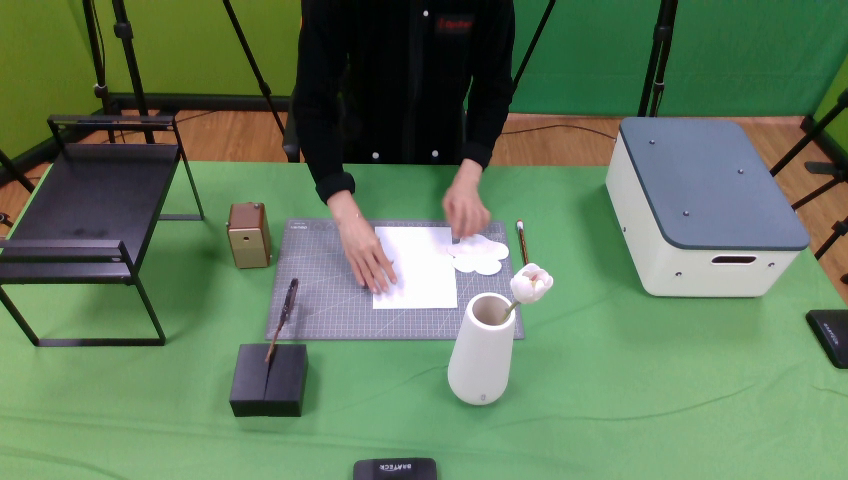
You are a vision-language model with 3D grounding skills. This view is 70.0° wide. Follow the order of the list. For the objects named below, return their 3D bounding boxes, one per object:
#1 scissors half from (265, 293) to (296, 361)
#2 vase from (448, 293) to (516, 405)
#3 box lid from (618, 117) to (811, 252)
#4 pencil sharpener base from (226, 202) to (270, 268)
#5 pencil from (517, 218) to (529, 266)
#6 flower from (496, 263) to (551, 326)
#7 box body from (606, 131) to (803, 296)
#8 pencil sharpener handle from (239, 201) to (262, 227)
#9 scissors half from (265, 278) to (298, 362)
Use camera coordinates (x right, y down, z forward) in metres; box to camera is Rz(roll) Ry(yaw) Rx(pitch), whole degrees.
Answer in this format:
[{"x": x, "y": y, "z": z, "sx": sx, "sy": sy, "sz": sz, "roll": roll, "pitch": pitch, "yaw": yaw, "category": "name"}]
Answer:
[{"x": -0.239, "y": 0.143, "z": 1.004, "sx": 0.013, "sy": 0.040, "sz": 0.174, "roll": 17, "pitch": 28, "yaw": -6, "category": "scissors half"}, {"x": 0.091, "y": 0.169, "z": 0.921, "sx": 0.098, "sy": 0.201, "sz": 0.097, "roll": 3, "pitch": 47, "yaw": -3, "category": "vase"}, {"x": 0.534, "y": -0.117, "z": 1.148, "sx": 0.263, "sy": 0.015, "sz": 0.369, "roll": 0, "pitch": 47, "yaw": -3, "category": "box lid"}, {"x": -0.323, "y": -0.010, "z": 1.123, "sx": 0.061, "sy": 0.107, "sz": 0.076, "roll": -3, "pitch": 46, "yaw": -7, "category": "pencil sharpener base"}, {"x": 0.200, "y": 0.028, "z": 1.196, "sx": 0.012, "sy": 0.012, "sz": 0.193, "roll": 1, "pitch": 48, "yaw": -3, "category": "pencil"}, {"x": 0.102, "y": 0.120, "z": 0.853, "sx": 0.044, "sy": 0.363, "sz": 0.038, "roll": -2, "pitch": 64, "yaw": -10, "category": "flower"}, {"x": 0.530, "y": -0.067, "z": 1.204, "sx": 0.254, "sy": 0.161, "sz": 0.361, "roll": 0, "pitch": 46, "yaw": -4, "category": "box body"}, {"x": -0.325, "y": -0.055, "z": 1.150, "sx": 0.036, "sy": 0.068, "sz": 0.030, "roll": -13, "pitch": 46, "yaw": 3, "category": "pencil sharpener handle"}, {"x": -0.234, "y": 0.127, "z": 0.993, "sx": 0.013, "sy": 0.040, "sz": 0.174, "roll": 12, "pitch": 46, "yaw": -3, "category": "scissors half"}]
